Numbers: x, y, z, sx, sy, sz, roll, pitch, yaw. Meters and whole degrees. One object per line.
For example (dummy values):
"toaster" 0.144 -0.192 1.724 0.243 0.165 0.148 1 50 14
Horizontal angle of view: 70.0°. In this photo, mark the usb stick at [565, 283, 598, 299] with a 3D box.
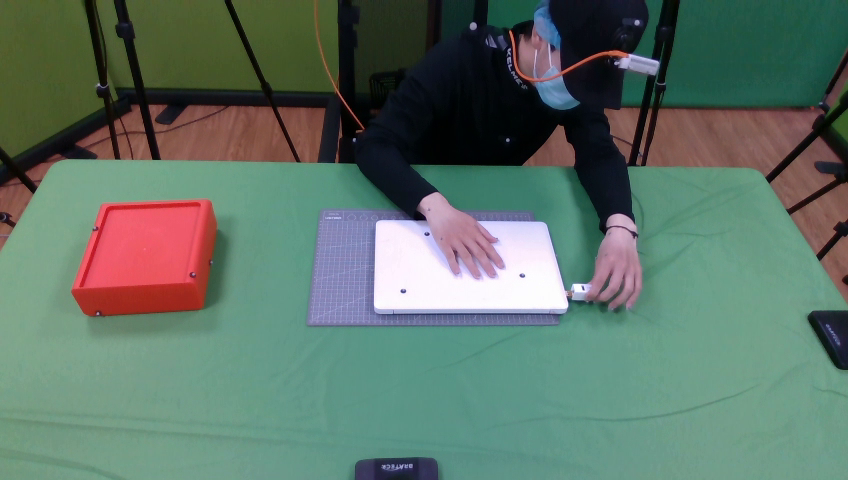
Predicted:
"usb stick" 0.286 0.094 1.110 0.059 0.027 0.021 -1 47 -2

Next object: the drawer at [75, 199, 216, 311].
"drawer" -0.494 0.022 1.097 0.195 0.073 0.210 -2 47 -8

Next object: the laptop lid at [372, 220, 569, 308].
"laptop lid" 0.081 0.040 1.152 0.357 0.013 0.240 2 44 -3

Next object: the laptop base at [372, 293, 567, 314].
"laptop base" 0.080 0.050 1.159 0.355 0.023 0.234 0 43 -4

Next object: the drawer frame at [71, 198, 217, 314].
"drawer frame" -0.493 0.023 1.096 0.202 0.083 0.212 -3 47 -8
